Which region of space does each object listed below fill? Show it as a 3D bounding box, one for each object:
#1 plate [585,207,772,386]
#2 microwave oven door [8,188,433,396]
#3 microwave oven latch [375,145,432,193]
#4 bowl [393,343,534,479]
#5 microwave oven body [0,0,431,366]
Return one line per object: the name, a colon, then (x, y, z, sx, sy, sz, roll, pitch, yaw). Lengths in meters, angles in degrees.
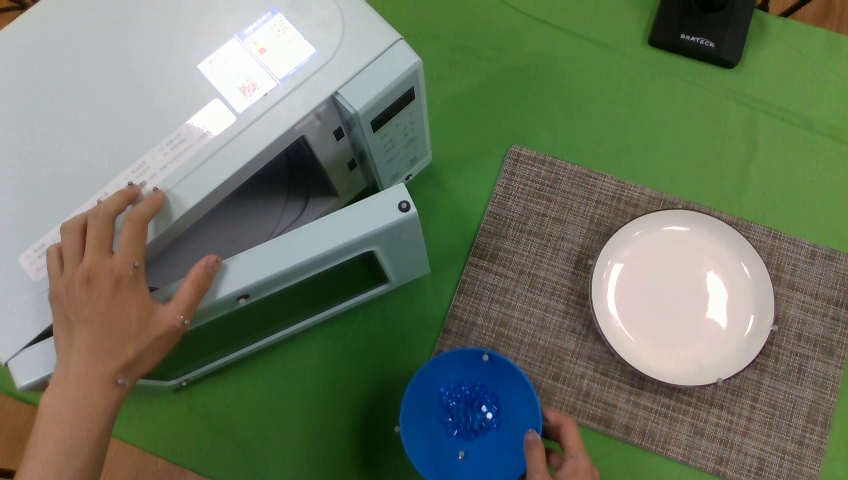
plate: (0.291, 0.065, 0.708, 0.207, 0.039, 0.206, -1, 76, 2)
microwave oven door: (-0.166, 0.065, 0.610, 0.356, 0.245, 0.039, -24, 74, -3)
microwave oven latch: (-0.025, -0.094, 0.748, 0.079, 0.029, 0.030, -40, 78, -7)
bowl: (0.046, 0.193, 0.671, 0.151, 0.077, 0.150, -2, 75, 8)
microwave oven body: (-0.261, -0.107, 0.662, 0.441, 0.261, 0.324, -42, 78, -7)
